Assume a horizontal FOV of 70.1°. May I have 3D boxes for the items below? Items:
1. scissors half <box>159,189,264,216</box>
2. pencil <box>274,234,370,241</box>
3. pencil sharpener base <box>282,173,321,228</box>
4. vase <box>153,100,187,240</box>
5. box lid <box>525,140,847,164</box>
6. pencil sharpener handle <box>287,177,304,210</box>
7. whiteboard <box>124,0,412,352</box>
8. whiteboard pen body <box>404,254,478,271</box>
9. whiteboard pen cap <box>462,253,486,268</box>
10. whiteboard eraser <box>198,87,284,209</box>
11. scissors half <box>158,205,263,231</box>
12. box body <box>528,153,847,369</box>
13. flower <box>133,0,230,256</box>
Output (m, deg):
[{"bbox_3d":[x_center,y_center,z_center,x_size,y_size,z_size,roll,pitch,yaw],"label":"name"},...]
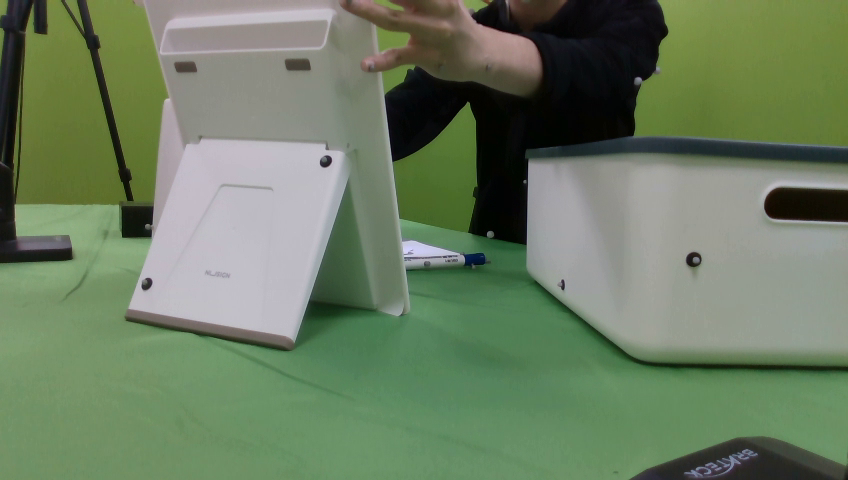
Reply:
[{"bbox_3d":[-0.370,-0.062,1.059,0.176,0.040,0.013,-11,8,-26],"label":"scissors half"},{"bbox_3d":[-0.169,-0.005,1.035,0.195,0.012,0.012,-1,8,-45],"label":"pencil"},{"bbox_3d":[-0.247,-0.080,1.212,0.061,0.107,0.076,-2,5,-28],"label":"pencil sharpener base"},{"bbox_3d":[-0.278,-0.066,0.736,0.098,0.200,0.098,2,9,0],"label":"vase"},{"bbox_3d":[0.261,-0.078,0.580,0.264,0.015,0.371,2,7,-4],"label":"box lid"},{"bbox_3d":[-0.269,-0.096,1.257,0.036,0.067,0.030,-8,8,-27],"label":"pencil sharpener handle"},{"bbox_3d":[-0.151,-0.049,0.471,0.216,0.305,0.144,6,27,24],"label":"whiteboard"},{"bbox_3d":[0.013,0.029,0.791,0.141,0.017,0.017,-4,10,-23],"label":"whiteboard pen body"},{"bbox_3d":[0.066,0.028,0.819,0.033,0.018,0.018,-9,11,-22],"label":"whiteboard pen cap"},{"bbox_3d":[-0.177,-0.084,0.572,0.055,0.112,0.042,36,35,3],"label":"whiteboard eraser"},{"bbox_3d":[-0.371,-0.042,1.061,0.176,0.040,0.012,8,4,-28],"label":"scissors half"},{"bbox_3d":[0.258,-0.005,0.591,0.254,0.160,0.363,2,7,-4],"label":"box body"},{"bbox_3d":[-0.282,-0.147,0.712,0.038,0.362,0.044,-23,23,-31],"label":"flower"}]
